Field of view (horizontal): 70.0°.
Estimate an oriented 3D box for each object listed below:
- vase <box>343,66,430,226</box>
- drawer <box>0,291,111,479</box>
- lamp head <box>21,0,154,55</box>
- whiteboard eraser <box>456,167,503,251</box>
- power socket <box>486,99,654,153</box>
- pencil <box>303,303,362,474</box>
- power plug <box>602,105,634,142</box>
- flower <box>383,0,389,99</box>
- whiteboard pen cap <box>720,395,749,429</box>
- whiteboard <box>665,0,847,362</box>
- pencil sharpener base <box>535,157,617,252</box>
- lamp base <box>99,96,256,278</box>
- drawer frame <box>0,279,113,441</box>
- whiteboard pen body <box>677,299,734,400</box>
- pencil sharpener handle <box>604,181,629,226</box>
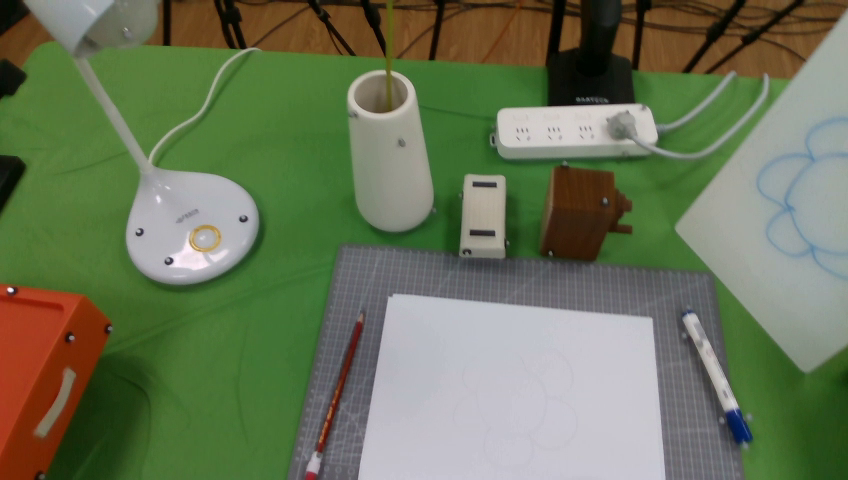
[{"bbox_3d":[-0.045,-0.102,0.698,0.098,0.202,0.097,-1,57,3],"label":"vase"},{"bbox_3d":[-0.447,0.135,0.579,0.211,0.074,0.193,6,59,5],"label":"drawer"},{"bbox_3d":[-0.264,-0.216,0.445,0.123,0.112,0.112,45,63,-17],"label":"lamp head"},{"bbox_3d":[0.069,-0.037,0.747,0.055,0.042,0.111,4,58,2],"label":"whiteboard eraser"},{"bbox_3d":[0.199,-0.155,0.822,0.227,0.033,0.071,-1,59,1],"label":"power socket"},{"bbox_3d":[-0.094,0.152,0.651,0.012,0.012,0.192,10,58,8],"label":"pencil"},{"bbox_3d":[0.249,-0.144,0.786,0.035,0.053,0.072,8,60,7],"label":"power plug"},{"bbox_3d":[-0.039,-0.160,0.638,0.038,0.365,0.043,-6,40,-10],"label":"flower"},{"bbox_3d":[0.314,0.174,0.615,0.018,0.018,0.033,-10,58,-4],"label":"whiteboard pen cap"},{"bbox_3d":[0.449,-0.057,0.630,0.144,0.307,0.215,-14,56,-29],"label":"whiteboard"},{"bbox_3d":[0.175,-0.038,0.707,0.076,0.108,0.061,6,58,5],"label":"pencil sharpener base"},{"bbox_3d":[-0.304,-0.070,0.696,0.178,0.182,0.160,33,64,23],"label":"lamp base"},{"bbox_3d":[-0.453,0.137,0.581,0.213,0.083,0.200,7,59,4],"label":"drawer frame"},{"bbox_3d":[0.305,0.126,0.648,0.017,0.017,0.139,-10,58,-4],"label":"whiteboard pen body"},{"bbox_3d":[0.225,-0.039,0.692,0.030,0.068,0.035,6,57,5],"label":"pencil sharpener handle"}]
